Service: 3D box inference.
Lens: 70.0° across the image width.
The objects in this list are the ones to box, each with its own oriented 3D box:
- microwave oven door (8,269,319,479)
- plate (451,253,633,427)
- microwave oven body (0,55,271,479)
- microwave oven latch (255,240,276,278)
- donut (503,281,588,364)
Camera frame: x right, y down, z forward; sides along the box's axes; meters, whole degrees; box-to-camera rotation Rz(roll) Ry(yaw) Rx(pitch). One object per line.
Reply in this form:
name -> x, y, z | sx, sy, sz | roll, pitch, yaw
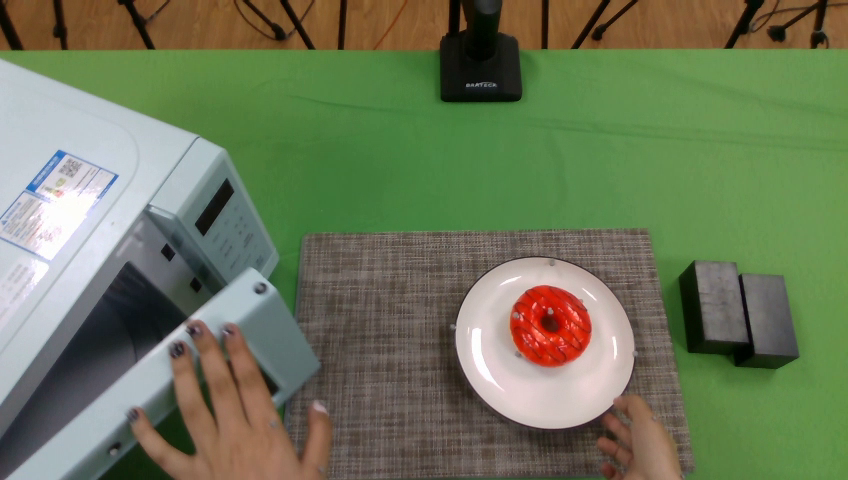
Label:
microwave oven door -> -0.252, 0.195, 0.539 | 0.039, 0.245, 0.355 | 39, 70, 18
plate -> 0.135, 0.115, 0.710 | 0.209, 0.038, 0.207 | 0, 64, -1
microwave oven body -> -0.415, 0.084, 0.597 | 0.325, 0.262, 0.439 | 22, 67, 9
microwave oven latch -> -0.208, 0.035, 0.731 | 0.030, 0.030, 0.079 | 22, 67, 9
donut -> 0.141, 0.097, 0.707 | 0.099, 0.048, 0.098 | 1, 66, -2
